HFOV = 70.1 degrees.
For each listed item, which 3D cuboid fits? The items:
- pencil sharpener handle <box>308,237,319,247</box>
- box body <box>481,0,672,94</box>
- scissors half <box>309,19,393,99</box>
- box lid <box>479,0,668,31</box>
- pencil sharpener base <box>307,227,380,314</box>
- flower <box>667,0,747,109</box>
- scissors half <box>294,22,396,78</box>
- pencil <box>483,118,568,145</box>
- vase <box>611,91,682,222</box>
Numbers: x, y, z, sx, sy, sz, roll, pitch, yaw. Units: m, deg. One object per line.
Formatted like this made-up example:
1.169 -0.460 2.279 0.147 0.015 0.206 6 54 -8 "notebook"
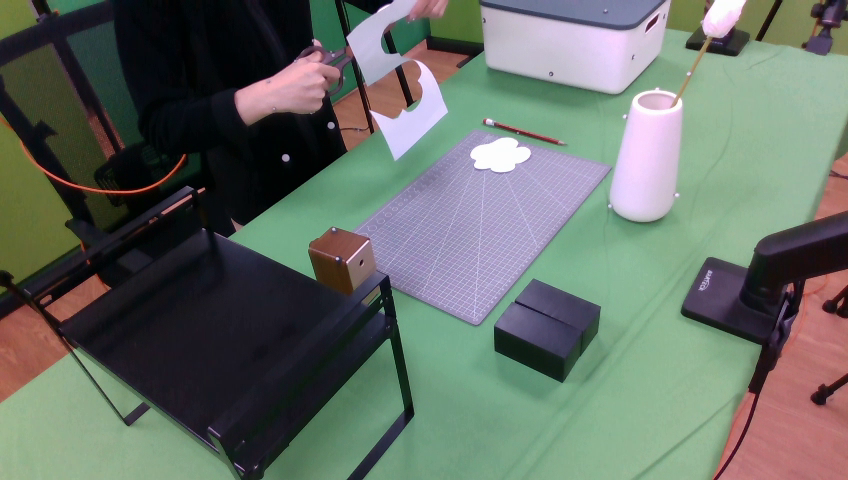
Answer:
-0.159 0.017 0.892 0.030 0.068 0.036 18 61 28 "pencil sharpener handle"
0.341 -0.480 1.381 0.361 0.161 0.255 22 48 30 "box body"
-0.113 -0.286 0.955 0.175 0.040 0.012 -43 17 12 "scissors half"
0.335 -0.536 1.331 0.368 0.015 0.264 23 49 30 "box lid"
-0.116 0.043 0.875 0.076 0.107 0.061 18 47 28 "pencil sharpener base"
0.354 -0.187 0.879 0.038 0.362 0.044 30 48 14 "flower"
-0.125 -0.302 0.948 0.175 0.040 0.013 -22 25 4 "scissors half"
0.201 -0.217 1.212 0.192 0.012 0.012 24 49 29 "pencil"
0.348 -0.125 0.935 0.098 0.201 0.097 -3 40 3 "vase"
